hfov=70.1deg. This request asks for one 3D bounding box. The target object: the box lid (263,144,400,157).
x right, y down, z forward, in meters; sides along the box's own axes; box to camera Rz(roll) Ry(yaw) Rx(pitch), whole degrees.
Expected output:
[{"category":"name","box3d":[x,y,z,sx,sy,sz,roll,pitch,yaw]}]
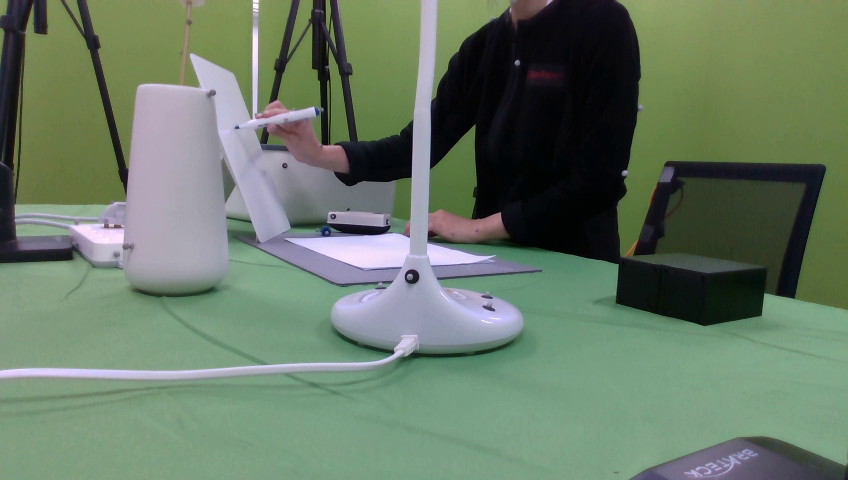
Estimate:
[{"category":"box lid","box3d":[-0.263,-0.203,1.369,0.262,0.015,0.373,9,10,39]}]

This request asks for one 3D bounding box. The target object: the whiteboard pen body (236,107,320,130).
[{"category":"whiteboard pen body","box3d":[-0.243,-0.199,1.004,0.141,0.017,0.017,-13,10,-6]}]

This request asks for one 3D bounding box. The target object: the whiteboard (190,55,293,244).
[{"category":"whiteboard","box3d":[-0.362,-0.129,1.029,0.144,0.305,0.217,-18,7,3]}]

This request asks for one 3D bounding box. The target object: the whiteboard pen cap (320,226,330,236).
[{"category":"whiteboard pen cap","box3d":[-0.176,-0.016,1.075,0.018,0.018,0.033,1,5,-13]}]

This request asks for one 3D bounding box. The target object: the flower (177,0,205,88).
[{"category":"flower","box3d":[-0.243,-0.131,0.609,0.044,0.361,0.038,-5,-12,12]}]

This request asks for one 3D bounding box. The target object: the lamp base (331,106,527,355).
[{"category":"lamp base","box3d":[0.006,-0.012,0.478,0.161,0.180,0.179,2,10,2]}]

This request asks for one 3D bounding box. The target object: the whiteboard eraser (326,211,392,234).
[{"category":"whiteboard eraser","box3d":[-0.121,-0.033,1.131,0.112,0.042,0.056,4,8,13]}]

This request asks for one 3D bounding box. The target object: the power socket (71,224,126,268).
[{"category":"power socket","box3d":[-0.409,0.004,0.793,0.072,0.032,0.225,-2,8,-37]}]

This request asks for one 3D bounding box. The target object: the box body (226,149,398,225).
[{"category":"box body","box3d":[-0.265,-0.129,1.380,0.253,0.160,0.366,8,9,39]}]

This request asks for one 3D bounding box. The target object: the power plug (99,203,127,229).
[{"category":"power plug","box3d":[-0.415,-0.026,0.848,0.073,0.052,0.035,6,5,-28]}]

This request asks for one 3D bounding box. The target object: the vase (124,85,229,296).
[{"category":"vase","box3d":[-0.244,-0.047,0.598,0.098,0.200,0.098,3,8,0]}]
